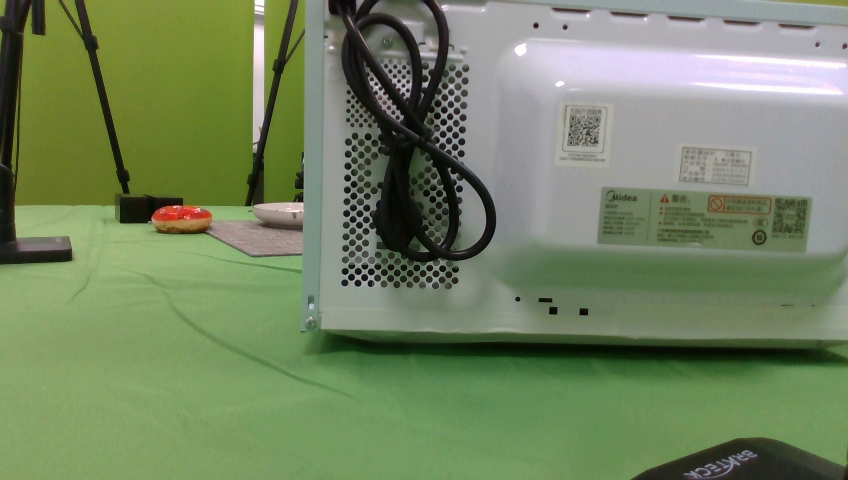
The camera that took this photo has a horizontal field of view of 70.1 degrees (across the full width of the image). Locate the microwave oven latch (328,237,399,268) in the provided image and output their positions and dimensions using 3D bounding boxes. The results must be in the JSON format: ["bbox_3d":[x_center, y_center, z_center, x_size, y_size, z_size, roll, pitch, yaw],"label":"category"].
[{"bbox_3d":[-0.069,0.015,0.694,0.079,0.029,0.030,3,7,-3],"label":"microwave oven latch"}]

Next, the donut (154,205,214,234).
[{"bbox_3d":[-0.426,-0.037,1.075,0.099,0.048,0.099,2,12,0],"label":"donut"}]

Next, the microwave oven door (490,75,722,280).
[{"bbox_3d":[0.227,-0.093,0.846,0.039,0.243,0.354,-3,9,-36],"label":"microwave oven door"}]

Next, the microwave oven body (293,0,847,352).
[{"bbox_3d":[0.122,-0.055,0.550,0.442,0.260,0.325,3,7,-5],"label":"microwave oven body"}]

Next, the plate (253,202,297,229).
[{"bbox_3d":[-0.238,-0.049,1.225,0.208,0.039,0.207,2,8,0],"label":"plate"}]

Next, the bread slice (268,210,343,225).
[{"bbox_3d":[-0.244,-0.047,1.219,0.104,0.019,0.132,8,9,36],"label":"bread slice"}]
